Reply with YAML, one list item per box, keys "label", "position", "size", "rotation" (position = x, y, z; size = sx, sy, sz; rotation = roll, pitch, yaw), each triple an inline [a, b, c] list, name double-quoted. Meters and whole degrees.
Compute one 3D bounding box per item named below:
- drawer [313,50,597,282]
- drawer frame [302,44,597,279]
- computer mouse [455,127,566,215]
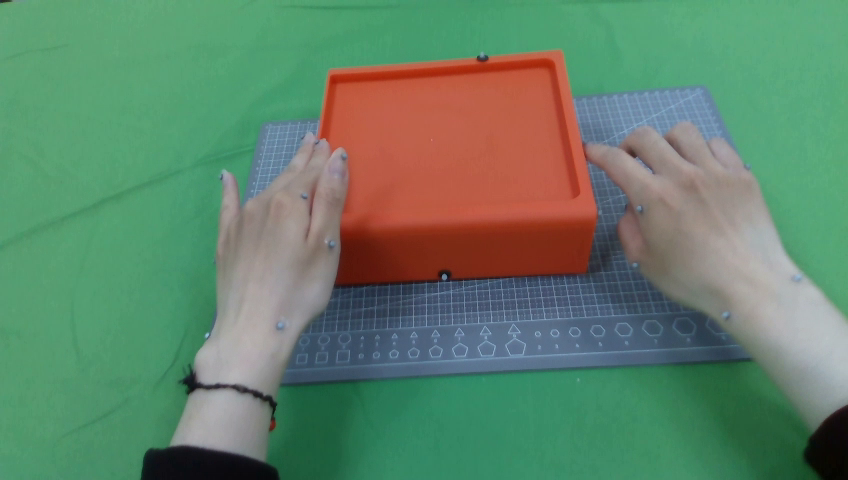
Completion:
- label: "drawer"
  position: [0.025, -0.066, 0.514]
  size: [0.211, 0.074, 0.192]
  rotation: [-5, 52, 7]
- label: "drawer frame"
  position: [0.022, -0.068, 0.509]
  size: [0.213, 0.083, 0.199]
  rotation: [-4, 52, 5]
- label: "computer mouse"
  position: [0.073, -0.065, 0.507]
  size: [0.062, 0.041, 0.117]
  rotation: [5, 37, 32]
